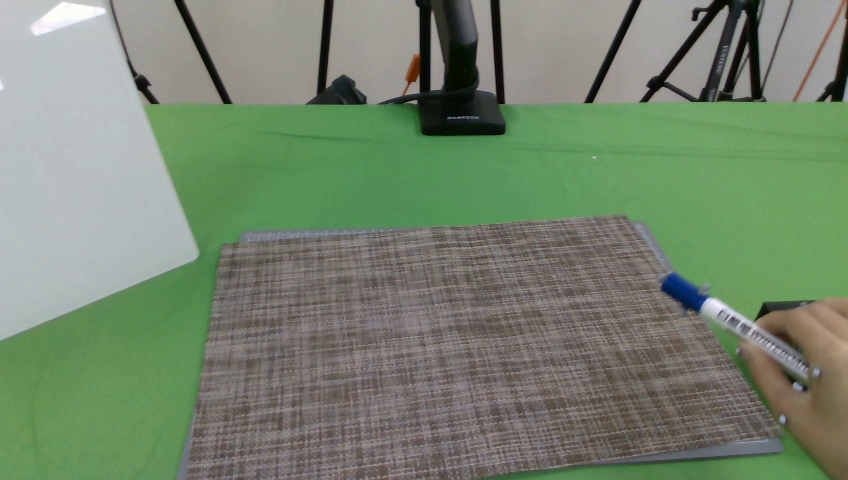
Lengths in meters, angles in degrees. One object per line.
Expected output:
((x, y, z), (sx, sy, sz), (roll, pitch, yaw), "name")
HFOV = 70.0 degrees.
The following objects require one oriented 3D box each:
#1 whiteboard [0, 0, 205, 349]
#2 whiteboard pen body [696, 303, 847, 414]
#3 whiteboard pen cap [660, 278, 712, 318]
((-0.374, -0.086, 0.554), (0.217, 0.307, 0.142), (-26, 27, -31), "whiteboard")
((0.227, 0.073, 0.403), (0.017, 0.017, 0.139), (-25, 43, -30), "whiteboard pen body")
((0.188, 0.042, 0.435), (0.018, 0.018, 0.033), (-26, 47, -31), "whiteboard pen cap")
